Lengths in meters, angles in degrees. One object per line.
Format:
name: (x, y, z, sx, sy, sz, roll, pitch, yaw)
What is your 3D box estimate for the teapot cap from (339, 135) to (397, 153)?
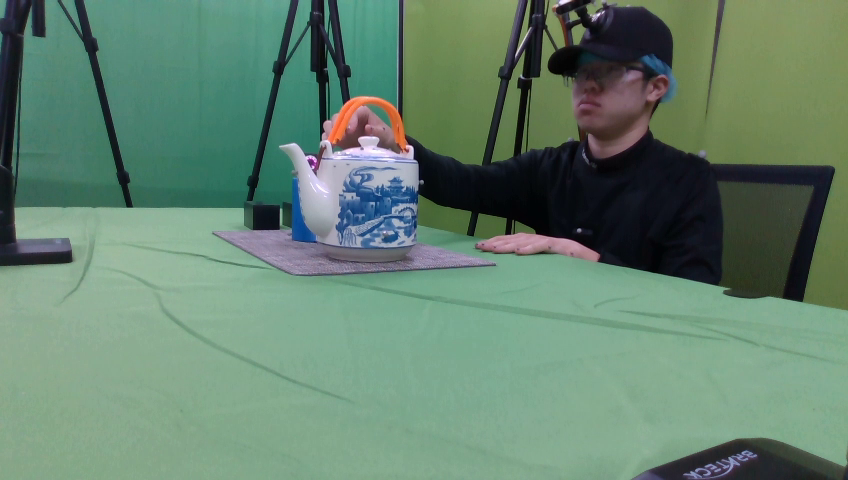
teapot cap: (-0.080, -0.126, 0.853, 0.085, 0.044, 0.085, -1, 4, 0)

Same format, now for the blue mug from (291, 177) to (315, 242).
blue mug: (-0.169, -0.054, 1.038, 0.117, 0.106, 0.082, -2, 8, -31)

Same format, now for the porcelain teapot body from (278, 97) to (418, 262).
porcelain teapot body: (-0.104, -0.086, 0.842, 0.206, 0.225, 0.144, -4, 9, -38)
